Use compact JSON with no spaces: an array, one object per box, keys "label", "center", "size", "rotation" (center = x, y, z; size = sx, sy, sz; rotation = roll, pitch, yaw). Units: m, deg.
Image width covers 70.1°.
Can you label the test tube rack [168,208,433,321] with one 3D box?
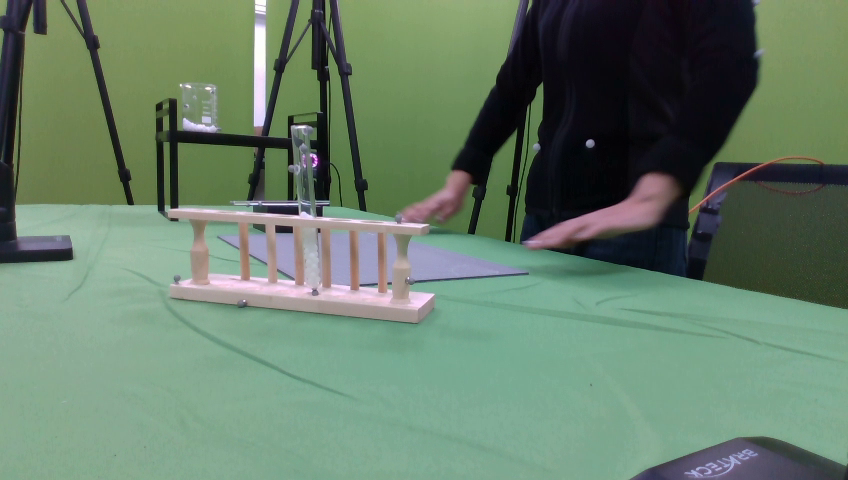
[{"label":"test tube rack","center":[-0.115,0.018,0.574],"size":[0.242,0.085,0.067],"rotation":[4,8,13]}]

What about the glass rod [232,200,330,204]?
[{"label":"glass rod","center":[-0.265,-0.071,1.146],"size":[0.201,0.008,0.008],"rotation":[-4,9,-40]}]

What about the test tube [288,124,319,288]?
[{"label":"test tube","center":[-0.108,-0.029,0.546],"size":[0.017,0.150,0.017],"rotation":[-3,12,1]}]

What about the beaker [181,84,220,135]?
[{"label":"beaker","center":[-0.475,-0.275,1.281],"size":[0.073,0.100,0.084],"rotation":[6,9,35]}]
